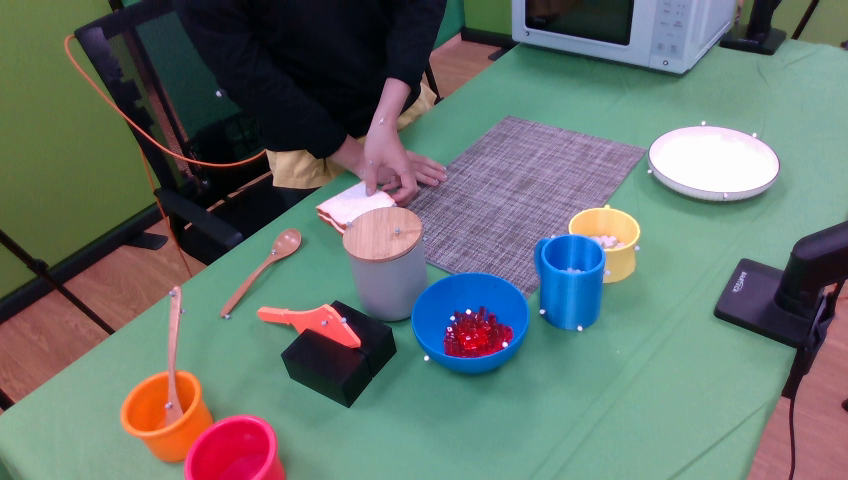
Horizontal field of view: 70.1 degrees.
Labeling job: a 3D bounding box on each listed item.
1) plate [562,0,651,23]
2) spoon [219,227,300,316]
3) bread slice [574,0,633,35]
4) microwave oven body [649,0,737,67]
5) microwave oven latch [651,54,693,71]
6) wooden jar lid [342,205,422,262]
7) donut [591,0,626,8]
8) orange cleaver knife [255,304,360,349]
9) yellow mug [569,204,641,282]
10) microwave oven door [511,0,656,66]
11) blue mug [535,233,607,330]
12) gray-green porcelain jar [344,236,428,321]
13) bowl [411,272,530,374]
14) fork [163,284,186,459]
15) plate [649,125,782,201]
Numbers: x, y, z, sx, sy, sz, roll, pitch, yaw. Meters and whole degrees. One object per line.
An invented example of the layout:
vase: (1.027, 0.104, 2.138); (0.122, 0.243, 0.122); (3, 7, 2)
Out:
plate: (0.439, -0.572, 1.456); (0.209, 0.038, 0.208); (-6, 44, 6)
spoon: (-0.261, 0.046, 0.954); (0.041, 0.021, 0.194); (27, 48, 10)
bread slice: (0.431, -0.561, 1.476); (0.105, 0.019, 0.131); (-29, 68, -21)
microwave oven body: (0.475, -0.602, 1.411); (0.438, 0.261, 0.327); (23, 50, 32)
microwave oven latch: (0.532, -0.386, 1.301); (0.078, 0.029, 0.030); (26, 52, 34)
wooden jar lid: (-0.055, -0.006, 0.808); (0.108, 0.021, 0.108); (-6, 40, 6)
donut: (0.437, -0.588, 1.433); (0.099, 0.048, 0.098); (-2, 53, 4)
orange cleaver knife: (-0.161, 0.115, 0.813); (0.210, 0.077, 0.012); (-4, 32, 47)
yellow mug: (0.268, -0.005, 0.904); (0.099, 0.064, 0.130); (7, 41, 15)
microwave oven door: (0.351, -0.539, 1.349); (0.353, 0.245, 0.039); (24, 50, 31)
blue mug: (0.191, 0.048, 0.824); (0.082, 0.106, 0.115); (-26, 44, -20)
gray-green porcelain jar: (-0.049, 0.042, 0.849); (0.106, 0.127, 0.105); (-4, 41, 4)
bowl: (0.061, 0.120, 0.780); (0.151, 0.077, 0.150); (-4, 40, 4)
fork: (-0.302, 0.157, 0.733); (0.028, 0.019, 0.207); (-3, 84, 15)
plate: (0.493, -0.127, 1.036); (0.207, 0.039, 0.206); (-4, 41, 4)
